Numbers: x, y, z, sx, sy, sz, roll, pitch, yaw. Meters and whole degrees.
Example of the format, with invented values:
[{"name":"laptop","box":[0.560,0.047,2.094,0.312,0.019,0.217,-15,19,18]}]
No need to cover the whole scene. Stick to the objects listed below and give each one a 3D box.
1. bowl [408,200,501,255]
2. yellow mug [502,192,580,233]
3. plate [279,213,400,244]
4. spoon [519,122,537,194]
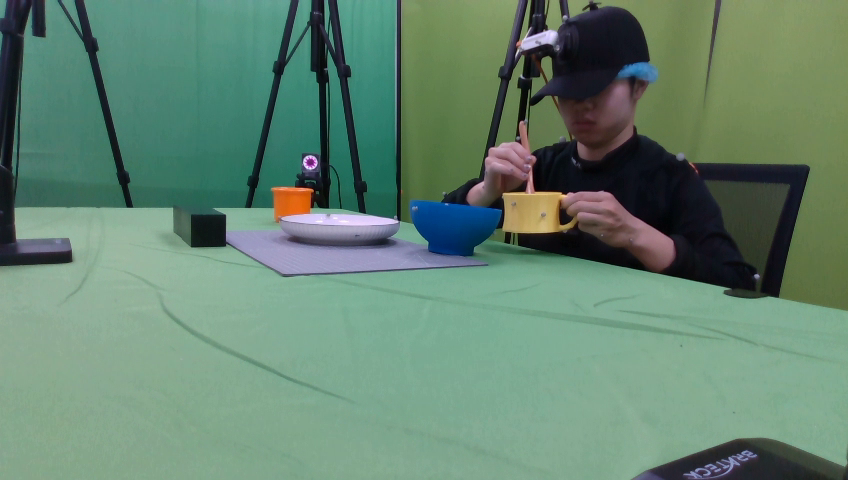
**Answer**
[{"name":"bowl","box":[0.045,-0.019,0.967,0.151,0.077,0.151,6,5,0]},{"name":"yellow mug","box":[0.196,-0.048,1.015,0.130,0.064,0.100,3,7,25]},{"name":"plate","box":[-0.147,-0.020,1.060,0.209,0.038,0.209,3,7,0]},{"name":"spoon","box":[0.177,-0.114,1.022,0.022,0.193,0.041,10,-25,-28]}]
